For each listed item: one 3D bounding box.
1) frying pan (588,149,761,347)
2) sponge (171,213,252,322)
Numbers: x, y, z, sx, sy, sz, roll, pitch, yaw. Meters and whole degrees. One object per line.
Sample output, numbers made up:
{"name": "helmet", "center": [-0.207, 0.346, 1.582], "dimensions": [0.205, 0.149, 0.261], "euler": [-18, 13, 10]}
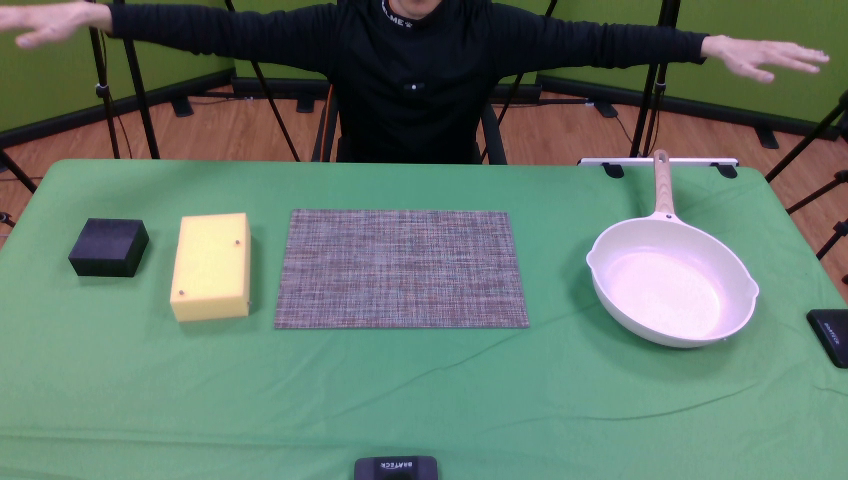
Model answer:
{"name": "frying pan", "center": [0.471, -0.003, 1.174], "dimensions": [0.307, 0.103, 0.485], "euler": [11, 55, 6]}
{"name": "sponge", "center": [-0.379, 0.045, 1.099], "dimensions": [0.118, 0.061, 0.205], "euler": [-6, 47, -9]}
